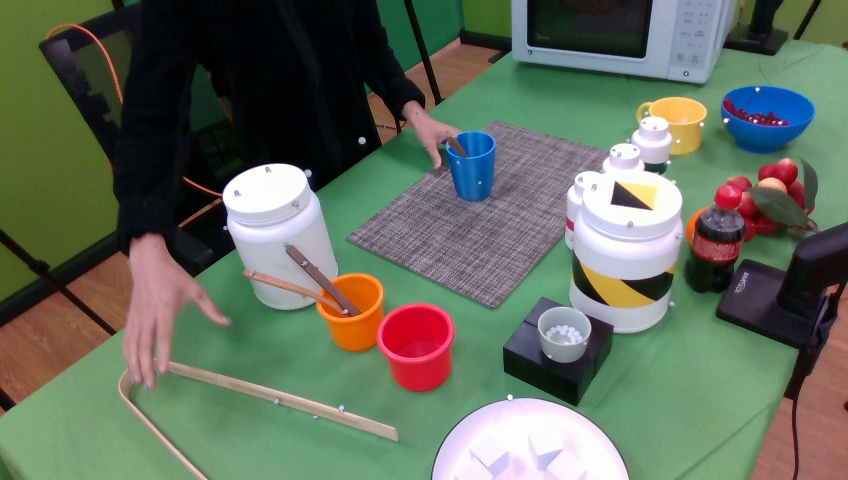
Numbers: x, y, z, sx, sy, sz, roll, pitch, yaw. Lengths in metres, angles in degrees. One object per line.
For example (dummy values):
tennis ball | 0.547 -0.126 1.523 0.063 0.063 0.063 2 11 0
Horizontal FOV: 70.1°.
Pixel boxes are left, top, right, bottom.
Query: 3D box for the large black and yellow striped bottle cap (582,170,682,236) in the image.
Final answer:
large black and yellow striped bottle cap | 0.252 -0.048 0.735 0.115 0.019 0.114 -3 40 3

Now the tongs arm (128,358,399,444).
tongs arm | -0.213 0.205 0.755 0.382 0.026 0.051 12 46 23

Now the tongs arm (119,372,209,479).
tongs arm | -0.258 0.257 0.700 0.384 0.028 0.028 24 55 34

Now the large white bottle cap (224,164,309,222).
large white bottle cap | -0.216 -0.066 0.830 0.115 0.018 0.114 -4 40 4

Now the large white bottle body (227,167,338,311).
large white bottle body | -0.207 -0.002 0.883 0.130 0.185 0.130 -4 40 4

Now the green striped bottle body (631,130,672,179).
green striped bottle body | 0.375 -0.140 1.007 0.063 0.120 0.063 -5 40 5

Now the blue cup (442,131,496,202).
blue cup | 0.084 -0.122 1.041 0.092 0.100 0.092 -4 41 4

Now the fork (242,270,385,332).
fork | -0.142 0.082 0.802 0.209 0.018 0.028 28 38 -26

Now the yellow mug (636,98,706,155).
yellow mug | 0.453 -0.217 1.128 0.100 0.064 0.129 -34 46 -27

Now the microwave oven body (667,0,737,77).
microwave oven body | 0.462 -0.552 1.368 0.439 0.261 0.326 15 45 26

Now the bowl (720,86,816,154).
bowl | 0.605 -0.206 1.082 0.151 0.077 0.150 -5 40 5

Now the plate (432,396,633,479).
plate | 0.112 0.261 0.634 0.209 0.038 0.208 -5 40 4

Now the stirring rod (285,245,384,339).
stirring rod | -0.121 0.071 0.819 0.176 0.006 0.014 44 53 -6

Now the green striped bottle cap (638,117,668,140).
green striped bottle cap | 0.369 -0.180 0.974 0.044 0.020 0.044 -4 41 4

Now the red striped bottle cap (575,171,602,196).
red striped bottle cap | 0.242 -0.081 0.876 0.044 0.018 0.044 -5 44 5

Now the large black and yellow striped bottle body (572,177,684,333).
large black and yellow striped bottle body | 0.262 0.017 0.788 0.131 0.185 0.130 -5 40 4

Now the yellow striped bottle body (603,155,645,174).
yellow striped bottle body | 0.313 -0.089 0.956 0.063 0.121 0.062 -4 39 4

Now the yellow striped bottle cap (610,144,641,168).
yellow striped bottle cap | 0.307 -0.128 0.923 0.044 0.019 0.044 -5 40 5

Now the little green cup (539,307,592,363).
little green cup | 0.169 0.115 0.721 0.061 0.039 0.061 -4 41 4

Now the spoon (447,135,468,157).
spoon | 0.067 -0.132 0.993 0.041 0.195 0.021 6 74 21

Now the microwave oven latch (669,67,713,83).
microwave oven latch | 0.556 -0.349 1.261 0.078 0.029 0.030 16 46 27

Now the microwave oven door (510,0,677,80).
microwave oven door | 0.354 -0.478 1.291 0.353 0.245 0.039 15 45 25

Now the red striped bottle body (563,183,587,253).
red striped bottle body | 0.246 -0.041 0.910 0.063 0.120 0.062 -2 38 2
